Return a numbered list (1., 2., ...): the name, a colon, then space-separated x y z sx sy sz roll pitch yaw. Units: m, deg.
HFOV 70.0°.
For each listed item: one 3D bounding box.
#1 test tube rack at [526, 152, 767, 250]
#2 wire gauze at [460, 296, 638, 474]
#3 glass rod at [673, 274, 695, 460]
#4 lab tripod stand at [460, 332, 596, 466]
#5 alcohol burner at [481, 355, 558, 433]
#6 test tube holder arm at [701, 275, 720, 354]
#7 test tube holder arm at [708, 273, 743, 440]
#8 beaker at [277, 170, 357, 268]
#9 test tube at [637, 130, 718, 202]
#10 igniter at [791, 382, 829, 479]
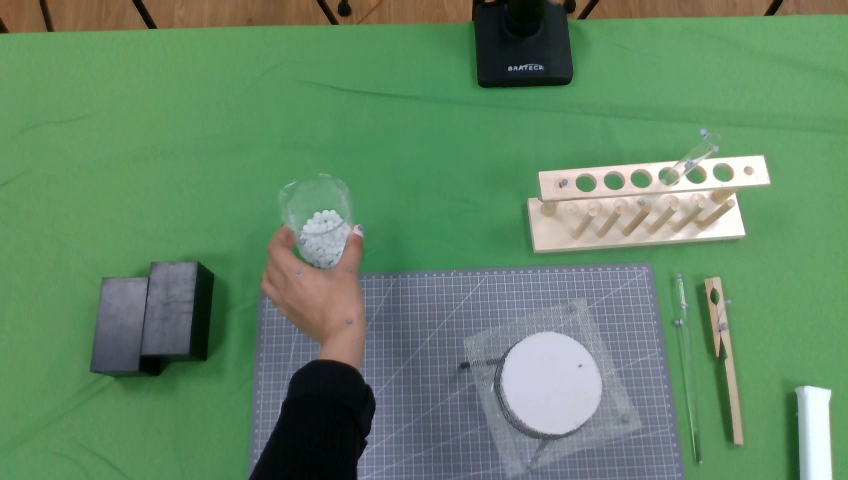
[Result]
1. test tube rack: 0.243 -0.041 0.678 0.242 0.085 0.066 -4 72 -1
2. wire gauze: 0.106 0.122 0.526 0.121 0.011 0.124 -18 72 -4
3. glass rod: 0.284 0.135 0.661 0.008 0.008 0.198 1 75 0
4. lab tripod stand: 0.102 0.145 0.589 0.148 0.132 0.147 -1 72 2
5. alcohol burner: 0.096 0.150 0.598 0.078 0.120 0.077 0 70 1
6. test tube holder arm: 0.320 0.082 0.673 0.010 0.015 0.087 -13 70 31
7. test tube holder arm: 0.327 0.124 0.657 0.013 0.015 0.177 -13 69 31
8. beaker: -0.114 -0.020 0.660 0.083 0.101 0.073 23 65 11
9. test tube: 0.261 -0.073 0.636 0.017 0.151 0.017 2 71 -5
10. igniter: 0.387 0.282 0.603 0.057 0.025 0.275 12 72 -6
